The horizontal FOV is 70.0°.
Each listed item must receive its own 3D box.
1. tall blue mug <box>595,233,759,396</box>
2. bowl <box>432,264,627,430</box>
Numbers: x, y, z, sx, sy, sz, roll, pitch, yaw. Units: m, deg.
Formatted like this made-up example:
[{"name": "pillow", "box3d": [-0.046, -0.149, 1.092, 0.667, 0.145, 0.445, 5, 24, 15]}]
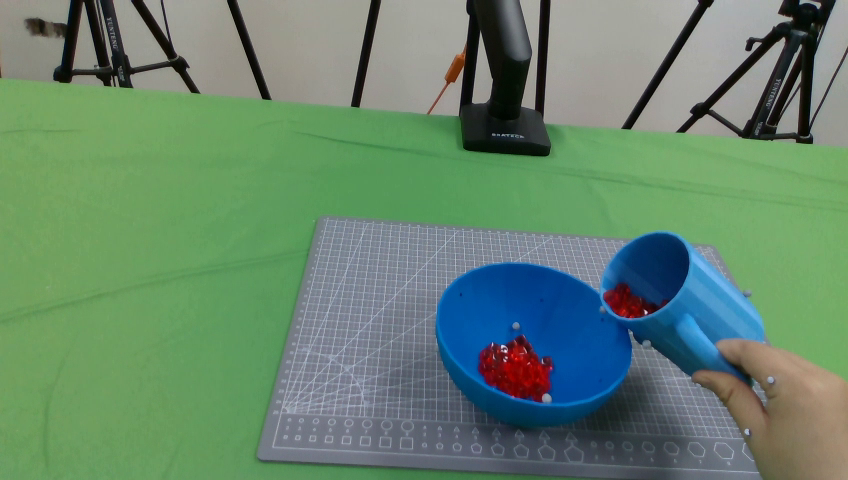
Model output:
[{"name": "tall blue mug", "box3d": [0.202, 0.058, 0.456, 0.109, 0.077, 0.106, 35, -5, -28]}, {"name": "bowl", "box3d": [0.076, 0.097, 0.484, 0.151, 0.077, 0.150, 5, 38, -3]}]
